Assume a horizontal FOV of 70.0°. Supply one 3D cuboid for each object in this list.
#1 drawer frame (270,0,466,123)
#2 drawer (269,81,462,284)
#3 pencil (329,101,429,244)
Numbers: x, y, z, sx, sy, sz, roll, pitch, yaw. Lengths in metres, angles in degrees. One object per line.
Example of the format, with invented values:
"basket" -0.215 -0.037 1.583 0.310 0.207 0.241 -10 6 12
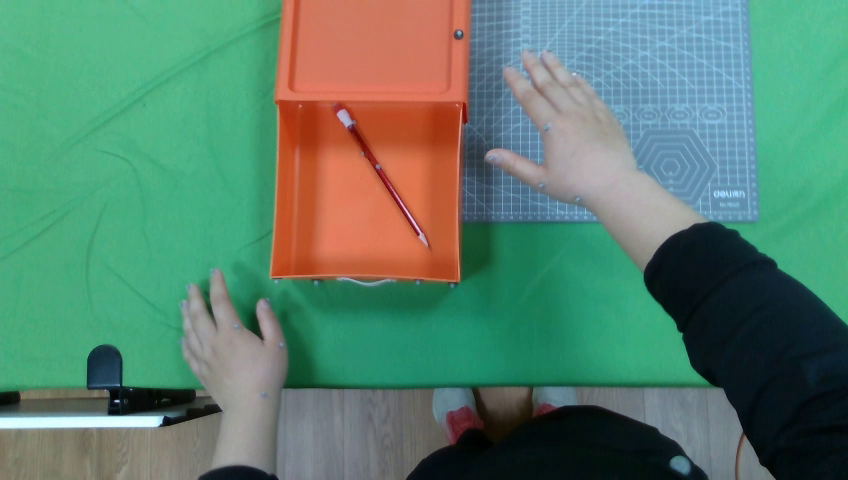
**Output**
"drawer frame" -0.055 -0.238 0.660 0.201 0.083 0.213 0 82 6
"drawer" -0.058 -0.059 0.644 0.194 0.073 0.211 0 86 5
"pencil" -0.049 -0.075 0.672 0.012 0.012 0.193 -34 85 0
